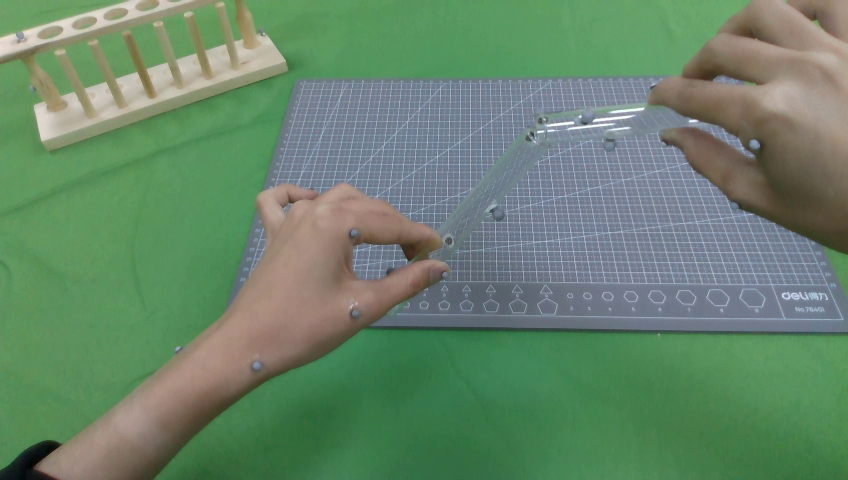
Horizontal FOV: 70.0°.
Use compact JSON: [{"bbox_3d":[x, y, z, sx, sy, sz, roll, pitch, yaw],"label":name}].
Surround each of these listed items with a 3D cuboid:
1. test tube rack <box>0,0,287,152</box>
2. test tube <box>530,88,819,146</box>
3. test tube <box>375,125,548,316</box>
[{"bbox_3d":[-0.268,-0.179,0.594,0.242,0.086,0.066,-24,53,-17],"label":"test tube rack"},{"bbox_3d":[0.126,-0.061,0.300,0.150,0.017,0.017,-7,50,-8],"label":"test tube"},{"bbox_3d":[0.015,-0.004,0.332,0.017,0.151,0.017,26,36,-21],"label":"test tube"}]
